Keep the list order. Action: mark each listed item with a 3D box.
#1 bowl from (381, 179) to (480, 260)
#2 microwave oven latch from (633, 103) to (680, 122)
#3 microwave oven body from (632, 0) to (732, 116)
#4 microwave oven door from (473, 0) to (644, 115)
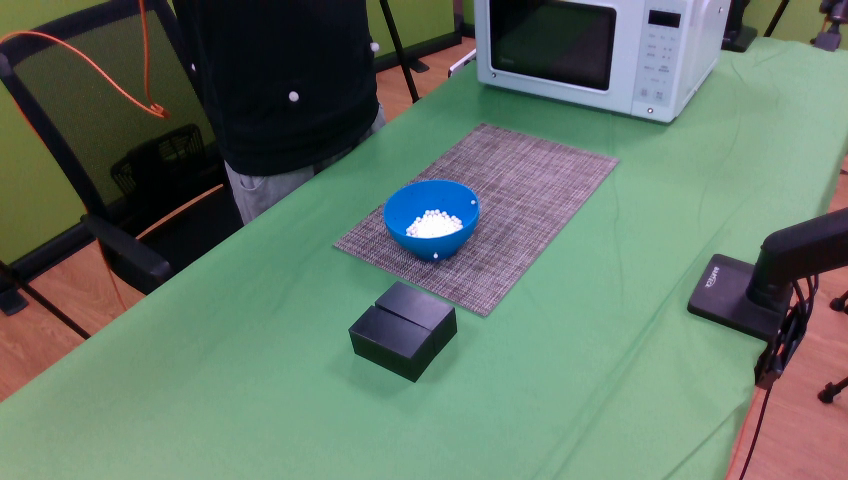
[{"bbox_3d":[0.014,-0.021,0.942,0.151,0.077,0.150,-4,40,4],"label":"bowl"},{"bbox_3d":[0.443,-0.249,1.157,0.078,0.029,0.030,21,49,30],"label":"microwave oven latch"},{"bbox_3d":[0.377,-0.463,1.267,0.438,0.261,0.327,21,49,30],"label":"microwave oven body"},{"bbox_3d":[0.257,-0.396,1.199,0.353,0.245,0.039,21,48,29],"label":"microwave oven door"}]
